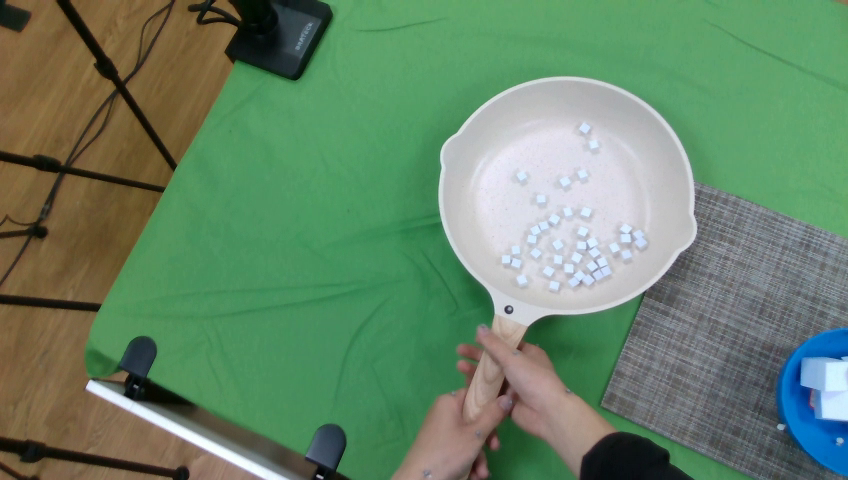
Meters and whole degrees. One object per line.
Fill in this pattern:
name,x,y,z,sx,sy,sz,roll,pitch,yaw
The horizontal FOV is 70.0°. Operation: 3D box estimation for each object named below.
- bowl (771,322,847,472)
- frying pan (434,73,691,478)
bowl,0.436,0.166,0.642,0.151,0.077,0.150,-1,76,6
frying pan,0.117,0.033,0.699,0.306,0.103,0.486,22,71,11
